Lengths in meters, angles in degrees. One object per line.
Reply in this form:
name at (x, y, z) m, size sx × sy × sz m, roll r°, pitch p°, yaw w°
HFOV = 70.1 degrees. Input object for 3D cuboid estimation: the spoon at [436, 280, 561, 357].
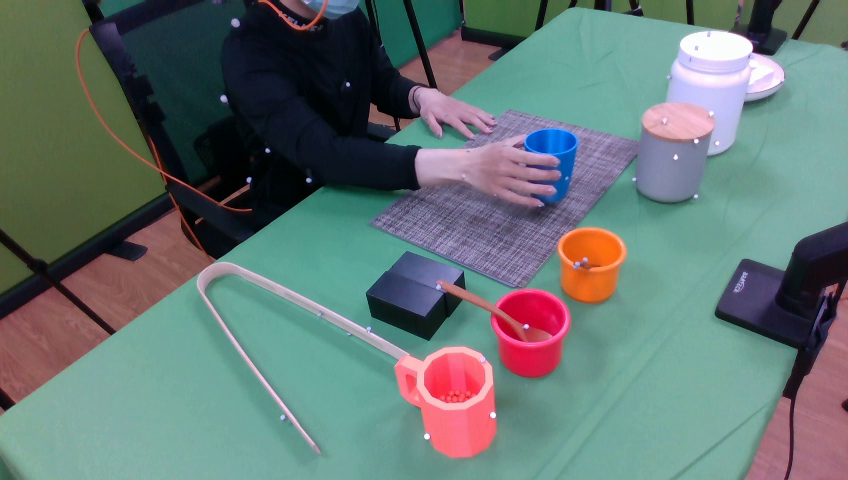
spoon at (0.096, 0.095, 0.758) m, size 0.195 × 0.021 × 0.041 m, roll 34°, pitch 41°, yaw -20°

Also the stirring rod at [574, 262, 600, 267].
stirring rod at (0.222, 0.033, 0.816) m, size 0.014 × 0.006 × 0.177 m, roll 7°, pitch 1°, yaw 22°

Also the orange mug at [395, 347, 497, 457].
orange mug at (0.024, 0.181, 0.703) m, size 0.125 × 0.101 × 0.083 m, roll 21°, pitch 48°, yaw 23°

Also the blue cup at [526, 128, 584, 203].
blue cup at (0.207, -0.117, 0.981) m, size 0.092 × 0.100 × 0.092 m, roll -4°, pitch 37°, yaw 3°

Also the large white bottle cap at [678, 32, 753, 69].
large white bottle cap at (0.491, -0.321, 1.021) m, size 0.115 × 0.018 × 0.114 m, roll -4°, pitch 41°, yaw 4°

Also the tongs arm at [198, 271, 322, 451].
tongs arm at (-0.236, 0.152, 0.829) m, size 0.028 × 0.028 × 0.384 m, roll -36°, pitch 47°, yaw -19°

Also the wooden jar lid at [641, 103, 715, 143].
wooden jar lid at (0.398, -0.180, 0.952) m, size 0.108 × 0.021 × 0.108 m, roll -4°, pitch 43°, yaw 4°

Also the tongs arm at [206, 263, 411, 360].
tongs arm at (-0.179, 0.106, 0.870) m, size 0.381 × 0.026 × 0.051 m, roll 23°, pitch 52°, yaw 32°

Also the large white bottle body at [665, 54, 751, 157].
large white bottle body at (0.500, -0.257, 1.076) m, size 0.130 × 0.185 × 0.130 m, roll -4°, pitch 41°, yaw 4°

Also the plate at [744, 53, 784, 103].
plate at (0.631, -0.336, 1.262) m, size 0.207 × 0.039 × 0.206 m, roll -4°, pitch 41°, yaw 4°

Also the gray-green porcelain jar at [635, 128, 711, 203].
gray-green porcelain jar at (0.405, -0.133, 0.992) m, size 0.106 × 0.127 × 0.105 m, roll -4°, pitch 40°, yaw 4°
